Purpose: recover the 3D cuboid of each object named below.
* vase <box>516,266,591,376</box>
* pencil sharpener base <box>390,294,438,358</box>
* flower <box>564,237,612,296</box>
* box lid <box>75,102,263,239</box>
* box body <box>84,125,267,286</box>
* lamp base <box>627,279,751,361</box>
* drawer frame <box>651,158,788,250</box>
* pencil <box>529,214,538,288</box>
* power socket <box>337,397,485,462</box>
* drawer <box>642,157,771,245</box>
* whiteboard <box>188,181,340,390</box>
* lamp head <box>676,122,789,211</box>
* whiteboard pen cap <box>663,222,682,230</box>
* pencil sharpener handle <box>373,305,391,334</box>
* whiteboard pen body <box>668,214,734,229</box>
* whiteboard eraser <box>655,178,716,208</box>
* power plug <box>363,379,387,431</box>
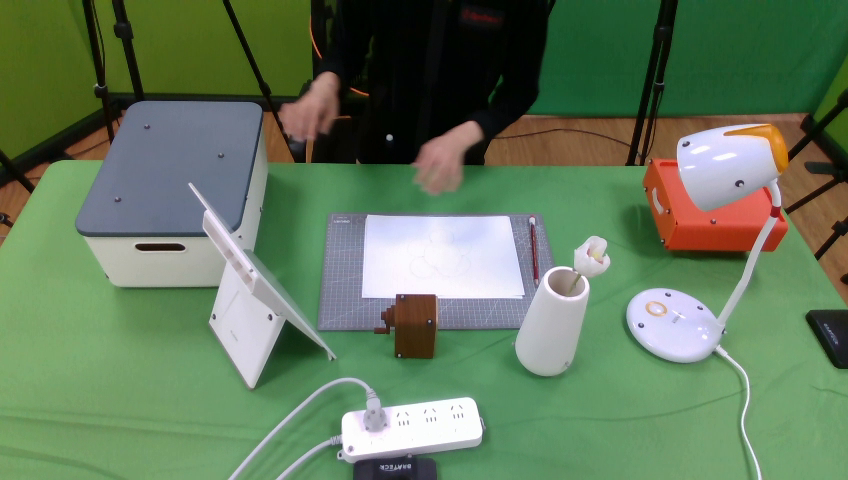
[{"bbox_3d":[0.208,0.132,0.964,0.098,0.201,0.097,3,46,-3],"label":"vase"},{"bbox_3d":[-0.018,0.143,1.000,0.077,0.107,0.061,1,46,-2],"label":"pencil sharpener base"},{"bbox_3d":[0.206,0.088,0.893,0.038,0.363,0.044,-17,67,-9],"label":"flower"},{"bbox_3d":[-0.443,-0.138,1.094,0.263,0.015,0.369,-1,47,-5],"label":"box lid"},{"bbox_3d":[-0.446,-0.088,1.150,0.254,0.161,0.361,-1,46,-5],"label":"box body"},{"bbox_3d":[0.459,0.100,1.027,0.178,0.181,0.160,27,51,17],"label":"lamp base"},{"bbox_3d":[0.571,-0.074,1.213,0.214,0.083,0.200,1,46,0],"label":"drawer frame"},{"bbox_3d":[0.218,0.019,1.202,0.012,0.012,0.193,5,48,1],"label":"pencil"},{"bbox_3d":[-0.018,0.285,0.915,0.227,0.033,0.071,-5,46,-8],"label":"power socket"},{"bbox_3d":[0.564,-0.075,1.210,0.212,0.073,0.193,3,45,-1],"label":"drawer"},{"bbox_3d":[-0.292,0.096,0.929,0.144,0.307,0.216,-38,57,-10],"label":"whiteboard"},{"bbox_3d":[0.423,-0.104,0.819,0.122,0.113,0.112,-13,33,40],"label":"lamp head"},{"bbox_3d":[0.487,-0.027,1.188,0.033,0.018,0.018,0,46,-16],"label":"whiteboard pen cap"},{"bbox_3d":[-0.069,0.133,0.989,0.030,0.068,0.036,1,47,-2],"label":"pencil sharpener handle"},{"bbox_3d":[0.547,-0.036,1.200,0.141,0.017,0.017,-8,48,-9],"label":"whiteboard pen body"},{"bbox_3d":[0.538,-0.095,1.251,0.113,0.042,0.055,4,52,-10],"label":"whiteboard eraser"},{"bbox_3d":[-0.072,0.252,0.910,0.035,0.053,0.072,3,45,-1],"label":"power plug"}]
